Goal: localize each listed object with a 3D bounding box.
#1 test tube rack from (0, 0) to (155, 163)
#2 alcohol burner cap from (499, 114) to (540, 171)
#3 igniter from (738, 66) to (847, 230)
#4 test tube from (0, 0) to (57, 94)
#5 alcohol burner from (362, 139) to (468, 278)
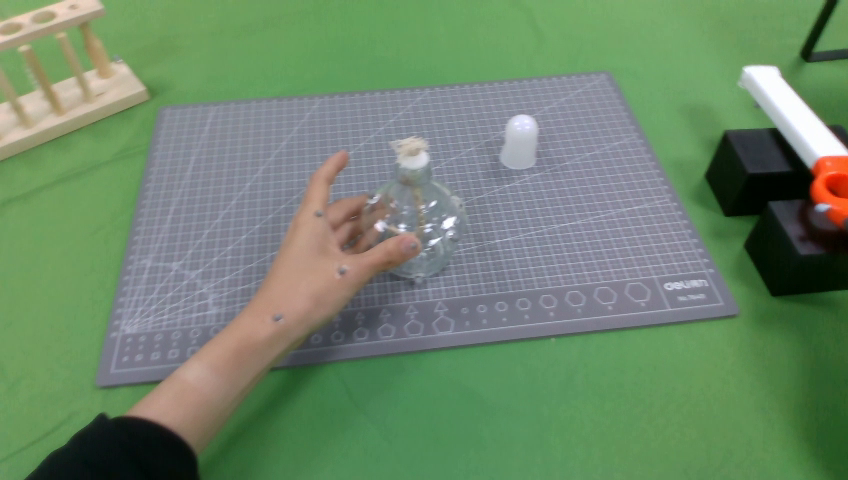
[{"bbox_3d":[-0.382,-0.127,0.537,0.242,0.086,0.066,-31,57,-23],"label":"test tube rack"},{"bbox_3d":[0.085,-0.087,0.526,0.034,0.048,0.033,1,50,-1],"label":"alcohol burner cap"},{"bbox_3d":[0.302,-0.048,0.440,0.057,0.025,0.273,-2,46,-3],"label":"igniter"},{"bbox_3d":[-0.361,-0.195,0.524,0.017,0.151,0.017,-3,42,4],"label":"test tube"},{"bbox_3d":[-0.006,-0.026,0.430,0.078,0.120,0.077,1,51,-1],"label":"alcohol burner"}]
